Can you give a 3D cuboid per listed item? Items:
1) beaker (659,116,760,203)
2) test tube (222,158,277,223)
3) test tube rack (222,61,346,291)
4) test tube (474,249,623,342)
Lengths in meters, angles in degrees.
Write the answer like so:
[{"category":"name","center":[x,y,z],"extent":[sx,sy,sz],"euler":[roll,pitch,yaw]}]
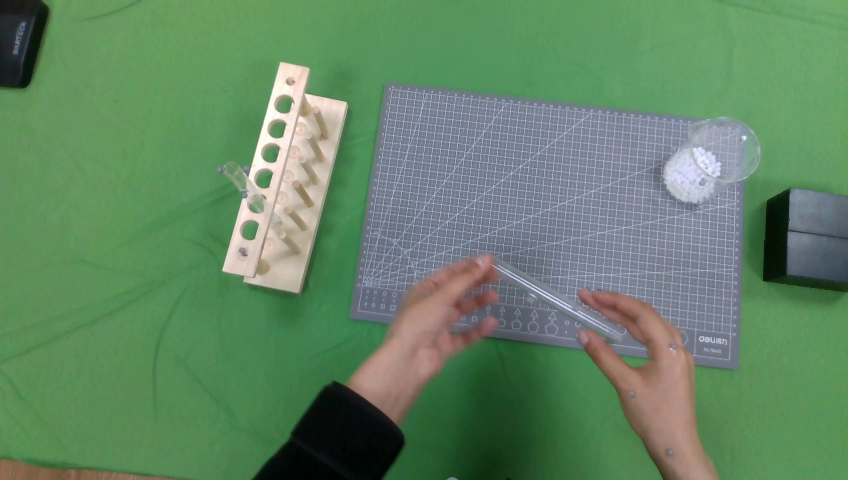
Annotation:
[{"category":"beaker","center":[0.316,-0.088,0.689],"extent":[0.083,0.100,0.074],"euler":[39,81,9]},{"category":"test tube","center":[-0.181,-0.048,0.641],"extent":[0.017,0.151,0.017],"euler":[0,72,1]},{"category":"test tube rack","center":[-0.155,-0.070,0.695],"extent":[0.067,0.085,0.241],"euler":[12,79,2]},{"category":"test tube","center":[0.109,0.048,0.549],"extent":[0.149,0.017,0.017],"euler":[30,80,18]}]
